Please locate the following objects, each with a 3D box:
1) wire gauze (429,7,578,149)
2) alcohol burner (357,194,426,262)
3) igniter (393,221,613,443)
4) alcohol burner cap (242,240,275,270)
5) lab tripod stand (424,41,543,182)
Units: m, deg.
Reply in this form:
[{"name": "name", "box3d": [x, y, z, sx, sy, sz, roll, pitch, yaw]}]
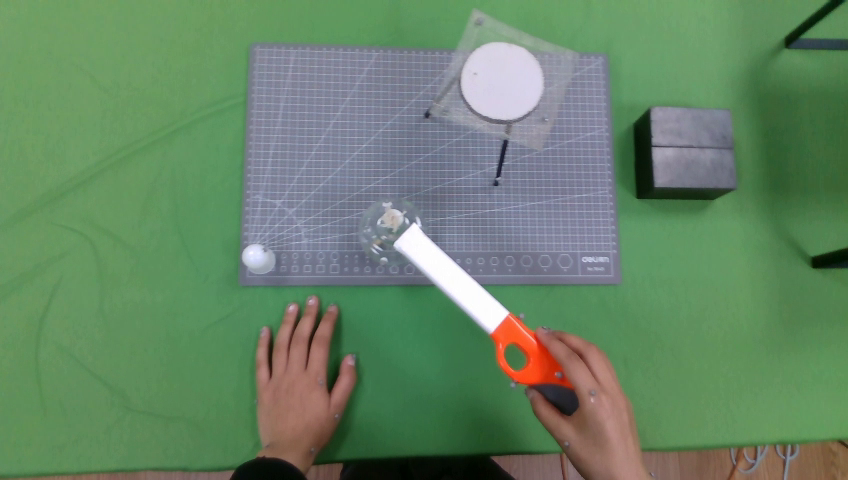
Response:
[{"name": "wire gauze", "box3d": [0.083, -0.165, 0.619, 0.121, 0.011, 0.124, 23, 77, -1]}, {"name": "alcohol burner", "box3d": [-0.035, -0.016, 0.660, 0.078, 0.119, 0.077, 1, 81, -5]}, {"name": "igniter", "box3d": [0.078, 0.087, 0.583, 0.276, 0.025, 0.057, 44, 78, 2]}, {"name": "alcohol burner cap", "box3d": [-0.188, 0.015, 0.678, 0.034, 0.048, 0.033, 1, 79, -5]}, {"name": "lab tripod stand", "box3d": [0.076, -0.155, 0.685, 0.148, 0.132, 0.147, 1, 77, -4]}]
